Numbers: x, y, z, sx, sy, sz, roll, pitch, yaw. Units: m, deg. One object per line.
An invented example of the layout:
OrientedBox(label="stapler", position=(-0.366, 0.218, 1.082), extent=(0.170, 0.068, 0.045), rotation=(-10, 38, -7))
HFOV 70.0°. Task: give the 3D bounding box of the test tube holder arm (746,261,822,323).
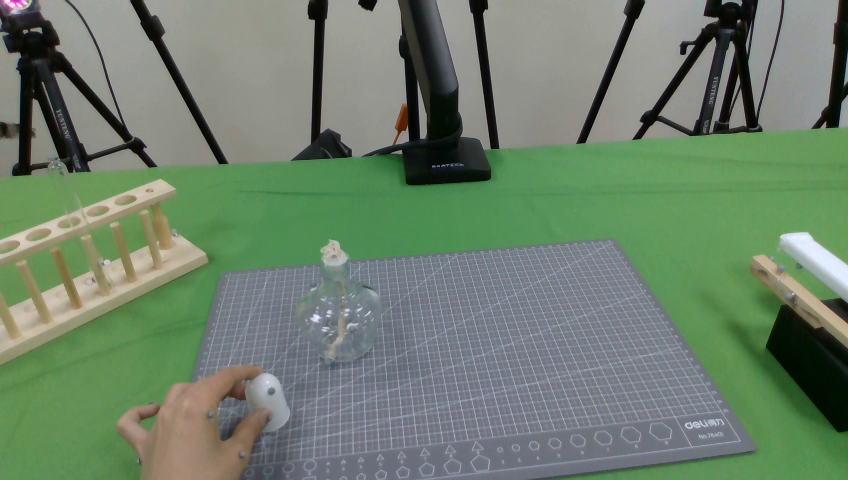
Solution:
OrientedBox(label="test tube holder arm", position=(0.323, 0.043, 0.540), extent=(0.015, 0.010, 0.087), rotation=(-14, 33, -7))

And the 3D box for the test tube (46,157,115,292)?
OrientedBox(label="test tube", position=(-0.328, -0.011, 0.582), extent=(0.017, 0.151, 0.017), rotation=(-1, 35, 1))

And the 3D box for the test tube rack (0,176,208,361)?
OrientedBox(label="test tube rack", position=(-0.352, 0.026, 0.609), extent=(0.066, 0.086, 0.242), rotation=(27, 44, 35))

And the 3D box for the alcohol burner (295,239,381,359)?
OrientedBox(label="alcohol burner", position=(-0.078, 0.047, 0.539), extent=(0.078, 0.120, 0.077), rotation=(0, 36, 0))

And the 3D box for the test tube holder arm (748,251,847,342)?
OrientedBox(label="test tube holder arm", position=(0.332, 0.061, 0.500), extent=(0.015, 0.013, 0.176), rotation=(-14, 34, -7))

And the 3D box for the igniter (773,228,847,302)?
OrientedBox(label="igniter", position=(0.385, 0.065, 0.495), extent=(0.057, 0.025, 0.273), rotation=(-6, 32, -6))

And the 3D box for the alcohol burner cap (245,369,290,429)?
OrientedBox(label="alcohol burner cap", position=(-0.128, 0.125, 0.490), extent=(0.034, 0.048, 0.033), rotation=(0, 35, 0))
